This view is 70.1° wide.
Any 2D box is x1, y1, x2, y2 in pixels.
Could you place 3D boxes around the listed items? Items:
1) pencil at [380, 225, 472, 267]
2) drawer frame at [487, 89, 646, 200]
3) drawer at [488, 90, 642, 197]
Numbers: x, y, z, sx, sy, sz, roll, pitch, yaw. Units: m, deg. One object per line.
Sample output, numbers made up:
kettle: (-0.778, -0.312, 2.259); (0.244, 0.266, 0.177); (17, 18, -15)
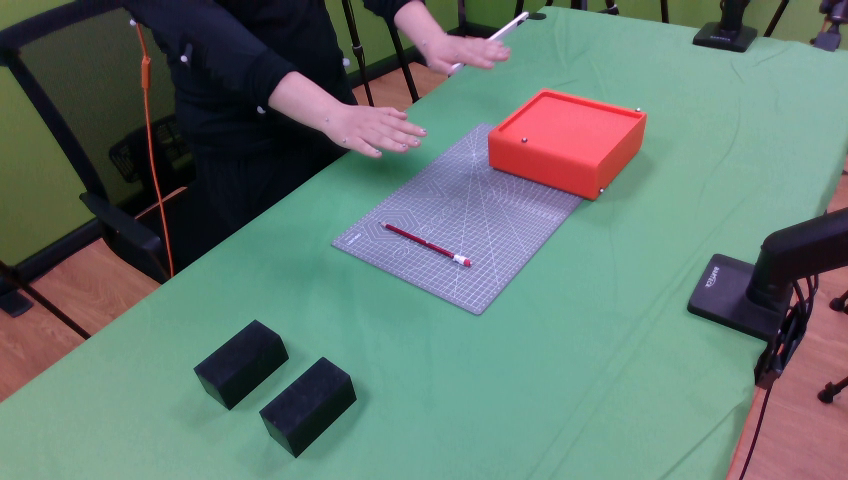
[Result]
pencil: (-0.002, 0.005, 0.970); (0.192, 0.012, 0.012); (23, 49, 34)
drawer frame: (0.257, -0.180, 1.094); (0.212, 0.083, 0.202); (23, 48, 30)
drawer: (0.254, -0.179, 1.095); (0.210, 0.073, 0.195); (24, 48, 30)
